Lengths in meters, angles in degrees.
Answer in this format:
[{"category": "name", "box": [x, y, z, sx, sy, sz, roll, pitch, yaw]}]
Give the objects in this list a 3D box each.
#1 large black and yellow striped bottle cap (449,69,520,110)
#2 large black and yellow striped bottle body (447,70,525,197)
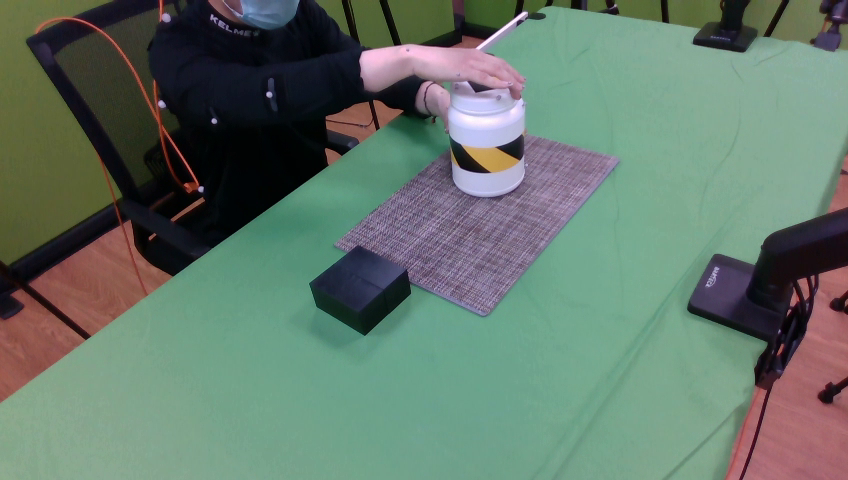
[{"category": "large black and yellow striped bottle cap", "box": [0.098, -0.245, 0.980, 0.115, 0.019, 0.114, -3, 40, 3]}, {"category": "large black and yellow striped bottle body", "box": [0.107, -0.182, 1.034, 0.131, 0.185, 0.130, -4, 41, 4]}]
